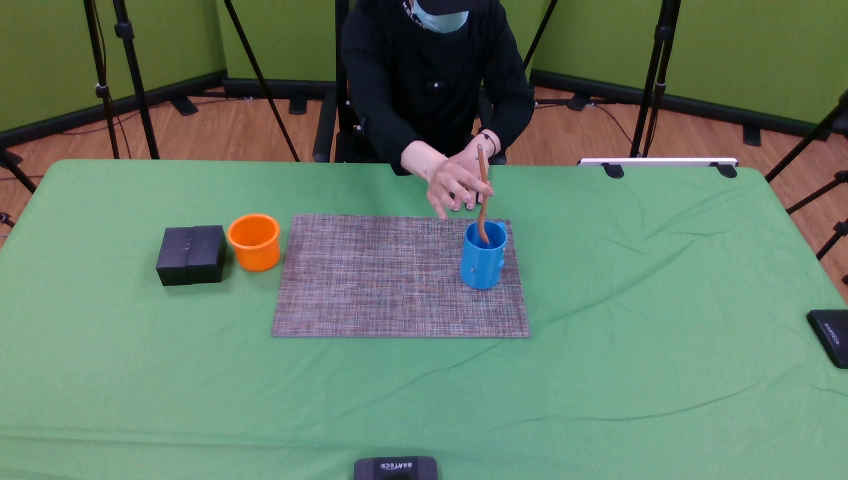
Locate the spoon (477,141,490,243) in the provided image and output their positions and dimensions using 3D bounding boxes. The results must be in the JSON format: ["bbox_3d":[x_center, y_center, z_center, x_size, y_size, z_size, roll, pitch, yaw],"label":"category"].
[{"bbox_3d":[0.101,-0.078,1.028,0.021,0.194,0.041,-3,32,1],"label":"spoon"}]

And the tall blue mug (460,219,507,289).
[{"bbox_3d":[0.111,0.016,1.121,0.078,0.108,0.106,6,46,4],"label":"tall blue mug"}]
